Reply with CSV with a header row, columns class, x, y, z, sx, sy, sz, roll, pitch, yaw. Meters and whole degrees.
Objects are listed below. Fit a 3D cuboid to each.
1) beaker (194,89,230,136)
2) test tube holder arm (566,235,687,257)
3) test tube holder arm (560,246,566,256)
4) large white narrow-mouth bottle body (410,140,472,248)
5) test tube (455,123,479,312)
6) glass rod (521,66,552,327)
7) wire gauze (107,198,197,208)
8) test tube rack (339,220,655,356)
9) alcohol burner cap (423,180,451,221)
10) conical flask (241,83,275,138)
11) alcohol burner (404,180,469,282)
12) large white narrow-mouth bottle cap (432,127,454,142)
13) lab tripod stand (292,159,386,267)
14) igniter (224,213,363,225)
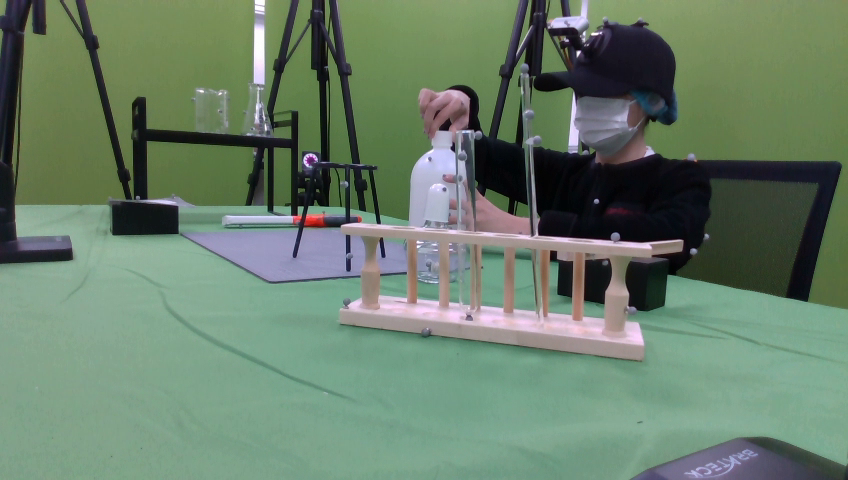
class,x,y,z,sx,sy,sz,roll,pitch,yaw
beaker,-0.472,-0.283,1.352,0.074,0.100,0.083,-4,10,-35
test tube holder arm,0.215,0.006,0.630,0.179,0.015,0.013,-3,9,-30
test tube holder arm,0.173,0.007,0.611,0.088,0.015,0.010,-3,9,-30
large white narrow-mouth bottle body,0.029,-0.088,1.005,0.102,0.194,0.102,2,8,0
test tube,0.034,-0.016,0.476,0.017,0.150,0.017,-2,10,1
glass rod,0.085,-0.028,0.454,0.008,0.199,0.008,-7,10,2
wire gauze,-0.462,-0.064,1.023,0.126,0.011,0.121,-2,7,-32
test tube rack,0.056,0.032,0.495,0.242,0.085,0.067,4,7,15
alcohol burner cap,0.017,-0.046,0.711,0.034,0.048,0.034,8,5,0
conical flask,-0.383,-0.297,1.392,0.075,0.122,0.075,2,7,0
alcohol burner,0.015,-0.011,0.715,0.078,0.119,0.078,0,7,0
large white narrow-mouth bottle cap,0.031,-0.173,0.992,0.038,0.024,0.037,2,8,0
lab tripod stand,-0.105,-0.039,0.798,0.148,0.131,0.148,2,5,0
igniter,-0.255,-0.041,1.210,0.278,0.025,0.057,-2,-2,-31
